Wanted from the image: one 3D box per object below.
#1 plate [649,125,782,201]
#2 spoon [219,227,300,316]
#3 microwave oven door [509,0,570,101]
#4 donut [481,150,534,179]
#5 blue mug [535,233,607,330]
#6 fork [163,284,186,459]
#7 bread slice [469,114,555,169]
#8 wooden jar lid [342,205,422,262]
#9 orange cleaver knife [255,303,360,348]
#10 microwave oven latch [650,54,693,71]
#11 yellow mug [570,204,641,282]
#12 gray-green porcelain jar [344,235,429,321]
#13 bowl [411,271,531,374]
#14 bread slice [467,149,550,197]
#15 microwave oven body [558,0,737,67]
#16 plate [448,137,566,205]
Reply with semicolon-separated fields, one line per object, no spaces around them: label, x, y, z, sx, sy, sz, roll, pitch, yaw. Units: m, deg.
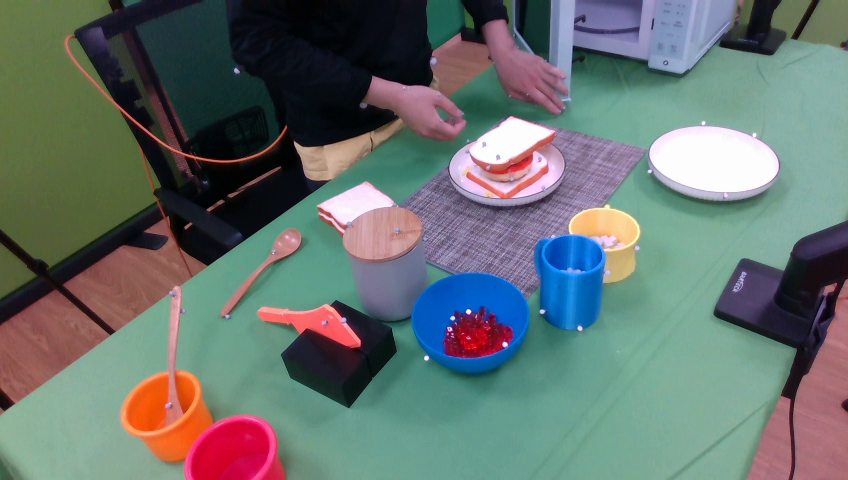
plate;0.493;-0.128;1.036;0.207;0.039;0.206;-4;41;4
spoon;-0.261;0.046;0.954;0.041;0.021;0.194;27;48;10
microwave oven door;0.247;-0.492;1.309;0.039;0.245;0.353;-11;41;-4
donut;0.143;-0.145;1.058;0.099;0.048;0.098;-3;42;3
blue mug;0.191;0.048;0.824;0.082;0.106;0.115;-26;44;-20
fork;-0.303;0.157;0.733;0.028;0.019;0.207;-3;84;13
bread slice;0.145;-0.168;1.036;0.134;0.018;0.106;-38;43;-24
wooden jar lid;-0.055;-0.006;0.808;0.108;0.021;0.108;-6;41;6
orange cleaver knife;-0.161;0.115;0.813;0.210;0.077;0.012;-4;32;46
microwave oven latch;0.531;-0.386;1.301;0.078;0.029;0.030;26;51;33
yellow mug;0.268;-0.005;0.904;0.099;0.064;0.130;7;42;15
gray-green porcelain jar;-0.049;0.042;0.849;0.106;0.127;0.105;-4;41;4
bowl;0.062;0.119;0.780;0.151;0.077;0.150;-4;40;4
bread slice;0.156;-0.129;1.083;0.132;0.019;0.104;-33;47;-26
microwave oven body;0.475;-0.602;1.411;0.438;0.261;0.327;23;50;32
plate;0.147;-0.124;1.075;0.209;0.038;0.208;-4;41;4
